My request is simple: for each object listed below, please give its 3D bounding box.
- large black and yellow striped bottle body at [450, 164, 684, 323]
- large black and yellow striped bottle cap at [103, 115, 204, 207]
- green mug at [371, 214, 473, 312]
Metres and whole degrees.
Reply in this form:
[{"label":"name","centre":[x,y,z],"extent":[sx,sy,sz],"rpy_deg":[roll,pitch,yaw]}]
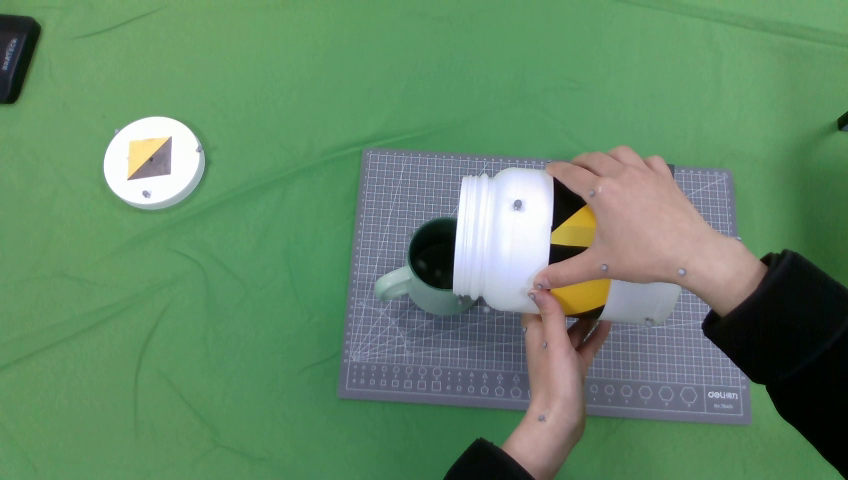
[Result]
[{"label":"large black and yellow striped bottle body","centre":[0.119,0.001,0.540],"extent":[0.184,0.131,0.130],"rpy_deg":[5,73,4]},{"label":"large black and yellow striped bottle cap","centre":[-0.325,-0.096,0.726],"extent":[0.115,0.019,0.114],"rpy_deg":[0,73,-1]},{"label":"green mug","centre":[0.004,0.032,0.645],"extent":[0.125,0.105,0.092],"rpy_deg":[-21,75,-6]}]
